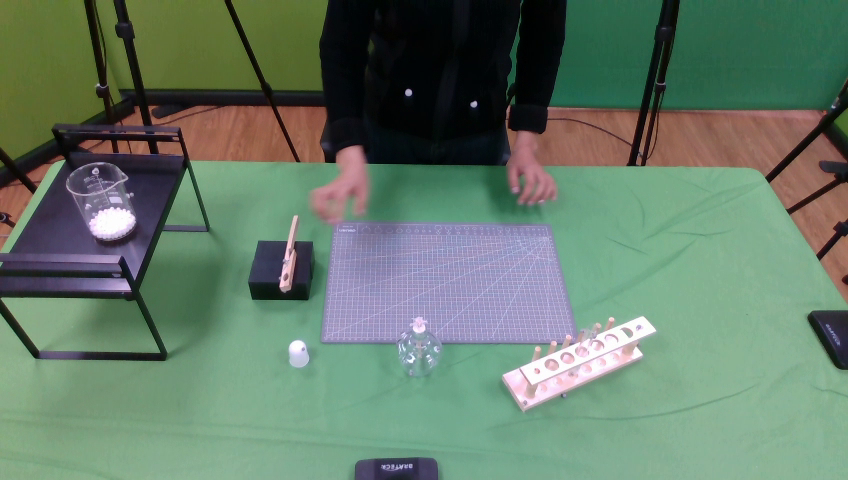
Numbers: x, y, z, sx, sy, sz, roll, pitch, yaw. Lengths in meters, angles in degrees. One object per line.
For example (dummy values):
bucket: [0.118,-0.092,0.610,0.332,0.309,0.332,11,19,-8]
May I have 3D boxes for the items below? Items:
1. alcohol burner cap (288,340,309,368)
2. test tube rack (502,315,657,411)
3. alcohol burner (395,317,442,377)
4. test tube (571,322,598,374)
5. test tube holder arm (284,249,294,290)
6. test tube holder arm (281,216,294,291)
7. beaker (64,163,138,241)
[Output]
alcohol burner cap: [-0.207,0.183,0.991,0.034,0.048,0.033,3,47,-3]
test tube rack: [0.253,0.186,0.988,0.242,0.085,0.066,-18,50,-20]
alcohol burner: [-0.009,0.166,0.971,0.078,0.120,0.077,0,45,0]
test tube: [0.246,0.169,0.935,0.017,0.151,0.017,-1,53,1]
test tube holder arm: [-0.237,0.052,1.064,0.010,0.015,0.087,-2,45,-4]
test tube holder arm: [-0.246,0.020,1.095,0.013,0.015,0.177,-3,45,-5]
beaker: [-0.477,-0.055,0.910,0.084,0.101,0.073,-9,48,-13]
